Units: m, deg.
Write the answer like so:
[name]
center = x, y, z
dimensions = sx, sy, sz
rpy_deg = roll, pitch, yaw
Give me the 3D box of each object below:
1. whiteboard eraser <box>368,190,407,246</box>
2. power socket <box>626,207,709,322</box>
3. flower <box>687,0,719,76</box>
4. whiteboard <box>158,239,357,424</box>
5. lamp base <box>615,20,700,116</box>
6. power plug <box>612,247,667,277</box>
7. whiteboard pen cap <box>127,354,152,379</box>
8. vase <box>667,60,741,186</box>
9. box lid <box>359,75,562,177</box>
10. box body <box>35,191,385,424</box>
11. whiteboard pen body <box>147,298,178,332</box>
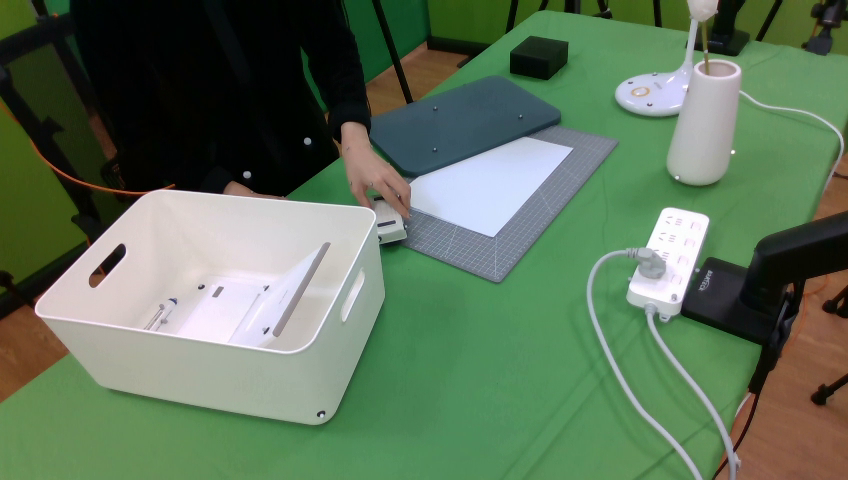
[whiteboard eraser]
center = -0.062, -0.035, 1.006
dimensions = 0.056, 0.042, 0.112
rpy_deg = -10, 40, -3
[power socket]
center = 0.360, 0.026, 0.886
dimensions = 0.072, 0.033, 0.227
rpy_deg = 17, 46, 27
[flower]
center = 0.436, -0.242, 0.934
dimensions = 0.038, 0.364, 0.043
rpy_deg = -24, 49, 9
[whiteboard]
center = -0.242, 0.093, 0.809
dimensions = 0.304, 0.144, 0.216
rpy_deg = 5, 44, 13
[lamp base]
center = 0.484, -0.364, 1.211
dimensions = 0.180, 0.181, 0.159
rpy_deg = -15, 41, -14
[power plug]
center = 0.306, 0.031, 0.852
dimensions = 0.072, 0.053, 0.035
rpy_deg = 21, 48, 38
[whiteboard pen cap]
center = -0.385, 0.172, 0.821
dimensions = 0.018, 0.018, 0.033
rpy_deg = 8, 43, 17
[vase]
center = 0.463, -0.189, 0.994
dimensions = 0.098, 0.201, 0.097
rpy_deg = -4, 40, 3
[box lid]
center = 0.074, -0.249, 1.267
dimensions = 0.373, 0.015, 0.261
rpy_deg = -23, 42, -18
[box body]
center = -0.254, 0.081, 0.807
dimensions = 0.363, 0.161, 0.253
rpy_deg = 5, 42, 14
[whiteboard pen body]
center = -0.396, 0.138, 0.868
dimensions = 0.017, 0.017, 0.140
rpy_deg = 6, 42, 15
